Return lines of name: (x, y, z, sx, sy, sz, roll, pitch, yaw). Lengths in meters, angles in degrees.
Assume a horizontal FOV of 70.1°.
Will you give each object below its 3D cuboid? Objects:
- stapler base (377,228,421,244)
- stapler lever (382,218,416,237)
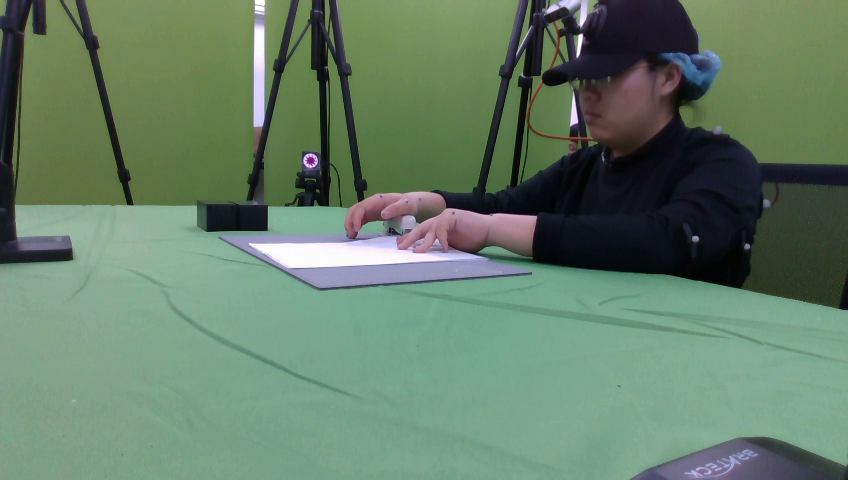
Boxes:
stapler base: (-0.044, -0.011, 1.073, 0.041, 0.024, 0.130, 2, 5, -23)
stapler lever: (-0.045, -0.027, 1.071, 0.027, 0.040, 0.117, 2, 15, -23)
